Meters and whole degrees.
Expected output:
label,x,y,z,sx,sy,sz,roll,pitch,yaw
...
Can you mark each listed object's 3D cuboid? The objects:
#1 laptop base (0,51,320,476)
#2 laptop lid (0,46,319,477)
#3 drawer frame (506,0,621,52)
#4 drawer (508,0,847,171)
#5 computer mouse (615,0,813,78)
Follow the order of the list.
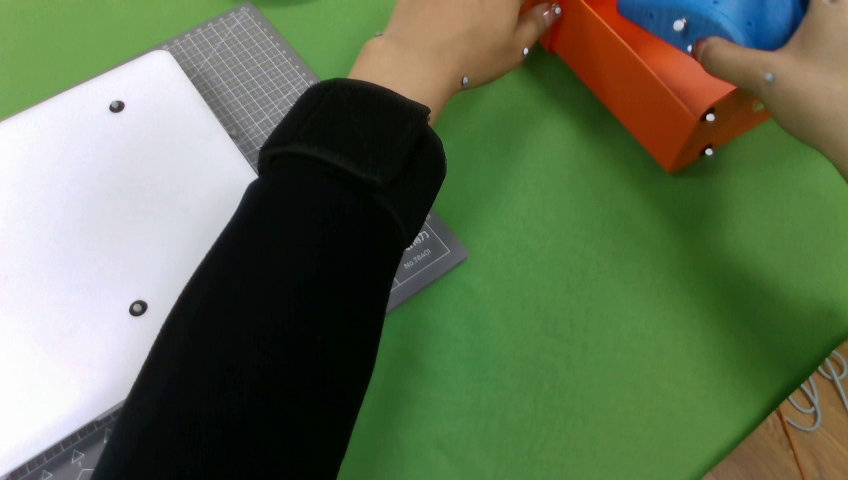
label,x,y,z,sx,sy,sz,roll,pitch,yaw
laptop base,-0.271,0.030,0.381,0.354,0.023,0.234,-32,70,-15
laptop lid,-0.270,0.026,0.369,0.357,0.013,0.239,-31,68,-14
drawer frame,0.134,-0.280,0.500,0.202,0.083,0.211,-27,64,-11
drawer,0.197,-0.179,0.450,0.194,0.074,0.210,-28,64,-12
computer mouse,0.181,-0.150,0.385,0.063,0.041,0.116,-30,50,-13
